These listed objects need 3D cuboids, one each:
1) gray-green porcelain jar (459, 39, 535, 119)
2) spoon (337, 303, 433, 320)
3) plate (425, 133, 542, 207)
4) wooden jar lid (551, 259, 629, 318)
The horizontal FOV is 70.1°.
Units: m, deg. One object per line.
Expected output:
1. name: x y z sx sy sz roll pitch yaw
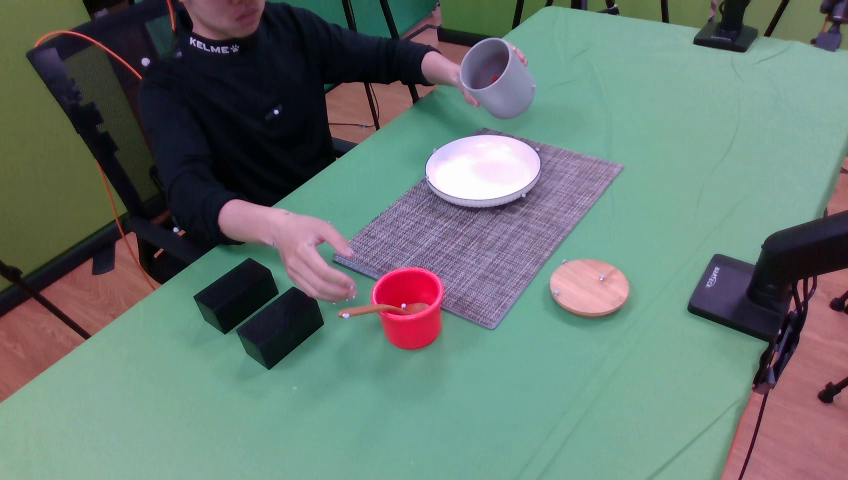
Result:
1. gray-green porcelain jar: 0.140 -0.292 1.120 0.105 0.127 0.105 -12 66 30
2. spoon: -0.048 0.091 0.777 0.041 0.021 0.195 23 5 32
3. plate: 0.106 -0.122 1.079 0.207 0.039 0.206 -4 41 4
4. wooden jar lid: 0.234 0.070 0.857 0.108 0.021 0.108 -5 40 4
